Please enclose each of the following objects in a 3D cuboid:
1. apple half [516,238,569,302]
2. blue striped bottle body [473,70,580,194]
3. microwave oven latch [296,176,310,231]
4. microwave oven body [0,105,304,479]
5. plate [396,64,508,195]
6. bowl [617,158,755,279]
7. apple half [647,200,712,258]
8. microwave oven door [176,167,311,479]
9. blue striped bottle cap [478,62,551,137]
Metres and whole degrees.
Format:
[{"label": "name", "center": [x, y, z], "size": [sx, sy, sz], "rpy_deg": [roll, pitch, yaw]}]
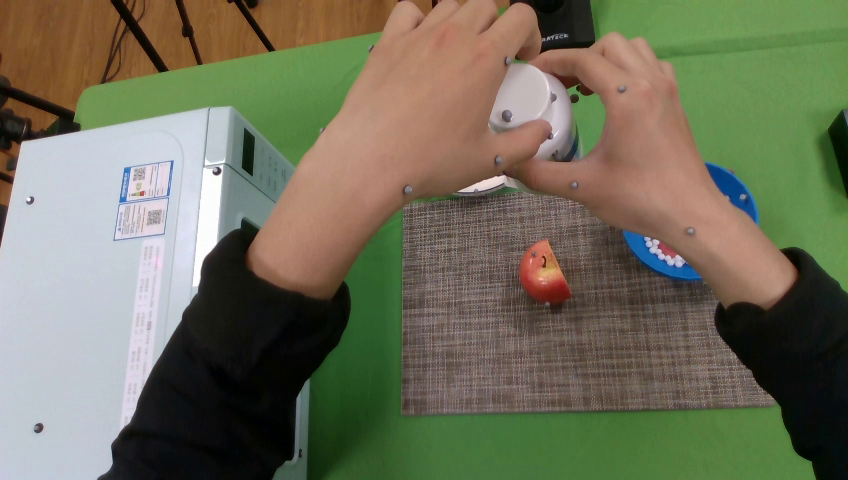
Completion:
[{"label": "apple half", "center": [0.146, 0.045, 0.773], "size": [0.053, 0.075, 0.080], "rpy_deg": [-25, 71, 10]}, {"label": "blue striped bottle body", "center": [0.073, -0.077, 0.429], "size": [0.063, 0.121, 0.063], "rpy_deg": [-4, 78, 19]}, {"label": "microwave oven latch", "center": [-0.185, -0.052, 0.896], "size": [0.030, 0.030, 0.078], "rpy_deg": [-7, 71, 12]}, {"label": "microwave oven body", "center": [-0.346, 0.100, 0.782], "size": [0.325, 0.262, 0.438], "rpy_deg": [-7, 71, 12]}, {"label": "plate", "center": [0.063, -0.158, 0.887], "size": [0.207, 0.039, 0.206], "rpy_deg": [-4, 71, 13]}, {"label": "bowl", "center": [0.314, -0.016, 0.746], "size": [0.151, 0.077, 0.150], "rpy_deg": [-5, 71, 14]}, {"label": "apple half", "center": [0.314, -0.017, 0.741], "size": [0.081, 0.033, 0.080], "rpy_deg": [-5, 69, 13]}, {"label": "microwave oven door", "center": [-0.204, 0.121, 0.732], "size": [0.039, 0.246, 0.353], "rpy_deg": [-7, 70, 13]}, {"label": "blue striped bottle cap", "center": [0.056, -0.088, 0.379], "size": [0.044, 0.021, 0.044], "rpy_deg": [-2, 84, 19]}]
